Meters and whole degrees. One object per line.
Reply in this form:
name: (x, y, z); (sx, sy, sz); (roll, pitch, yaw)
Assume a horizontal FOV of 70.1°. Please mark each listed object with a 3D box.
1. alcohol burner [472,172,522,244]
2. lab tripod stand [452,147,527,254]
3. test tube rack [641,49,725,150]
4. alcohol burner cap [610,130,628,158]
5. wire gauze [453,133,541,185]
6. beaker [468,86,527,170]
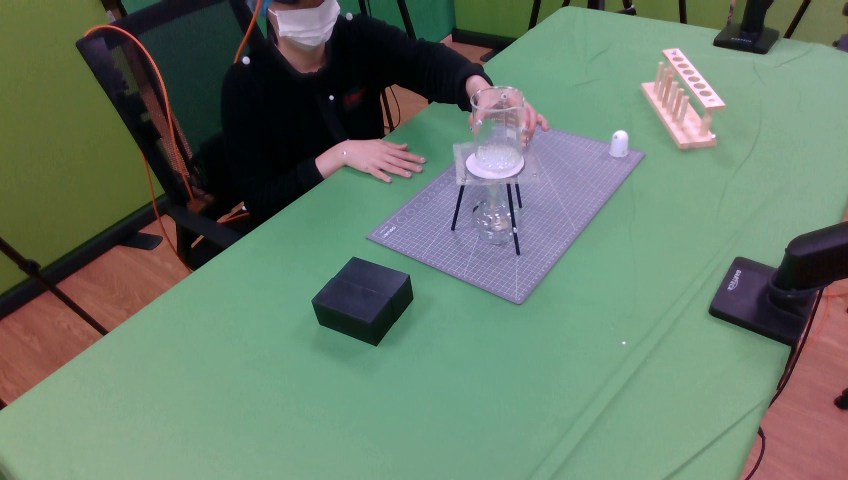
alcohol burner: (0.112, -0.053, 0.942); (0.078, 0.119, 0.077); (-6, 40, 5)
lab tripod stand: (0.111, -0.066, 0.943); (0.148, 0.132, 0.147); (-5, 42, 5)
test tube rack: (0.495, -0.279, 1.175); (0.067, 0.085, 0.241); (-5, 41, 3)
alcohol burner cap: (0.359, -0.177, 1.106); (0.034, 0.048, 0.033); (-5, 41, 5)
wire gauze: (0.105, -0.119, 0.902); (0.125, 0.011, 0.121); (-5, 41, 6)
beaker: (0.108, -0.157, 0.863); (0.083, 0.101, 0.074); (16, 45, 26)
